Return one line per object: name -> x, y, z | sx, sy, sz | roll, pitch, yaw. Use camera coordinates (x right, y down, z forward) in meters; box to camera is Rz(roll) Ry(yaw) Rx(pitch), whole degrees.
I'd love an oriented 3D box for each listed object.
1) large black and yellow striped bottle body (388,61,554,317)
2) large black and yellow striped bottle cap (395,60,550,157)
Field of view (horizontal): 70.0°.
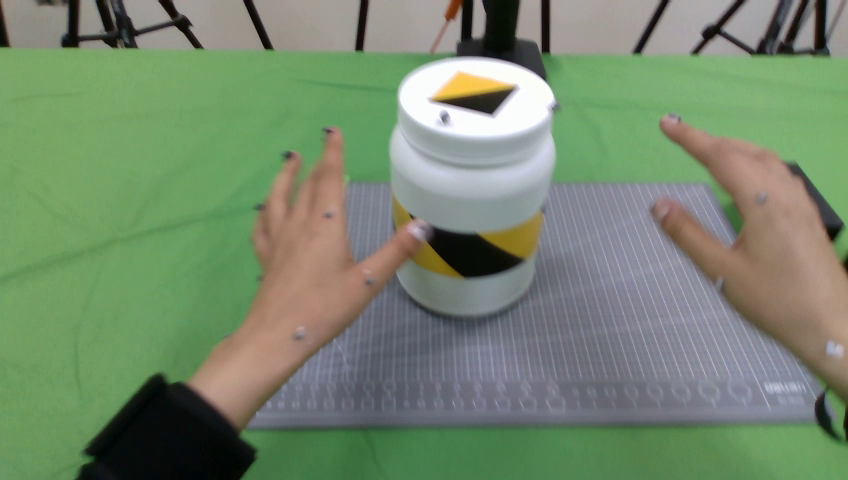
large black and yellow striped bottle body -> 0.036, -0.040, 0.505 | 0.131, 0.185, 0.129 | 0, 44, 0
large black and yellow striped bottle cap -> 0.035, -0.101, 0.447 | 0.115, 0.019, 0.114 | 1, 42, 0
